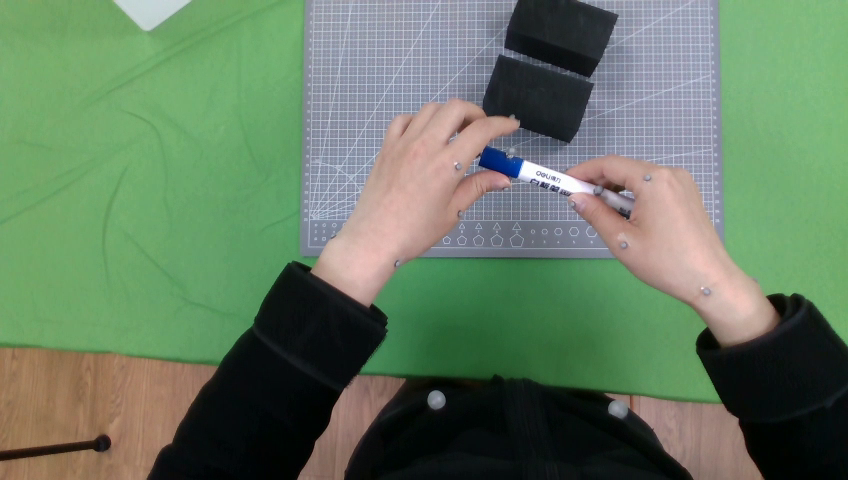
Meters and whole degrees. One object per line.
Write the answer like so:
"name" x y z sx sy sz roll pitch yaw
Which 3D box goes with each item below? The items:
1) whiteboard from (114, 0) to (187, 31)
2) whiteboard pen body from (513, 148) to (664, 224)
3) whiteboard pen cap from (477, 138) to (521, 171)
"whiteboard" -0.305 -0.403 0.576 0.217 0.308 0.142 -35 65 1
"whiteboard pen body" 0.112 -0.044 0.452 0.141 0.017 0.017 23 88 0
"whiteboard pen cap" 0.058 -0.064 0.455 0.033 0.018 0.018 20 87 3
